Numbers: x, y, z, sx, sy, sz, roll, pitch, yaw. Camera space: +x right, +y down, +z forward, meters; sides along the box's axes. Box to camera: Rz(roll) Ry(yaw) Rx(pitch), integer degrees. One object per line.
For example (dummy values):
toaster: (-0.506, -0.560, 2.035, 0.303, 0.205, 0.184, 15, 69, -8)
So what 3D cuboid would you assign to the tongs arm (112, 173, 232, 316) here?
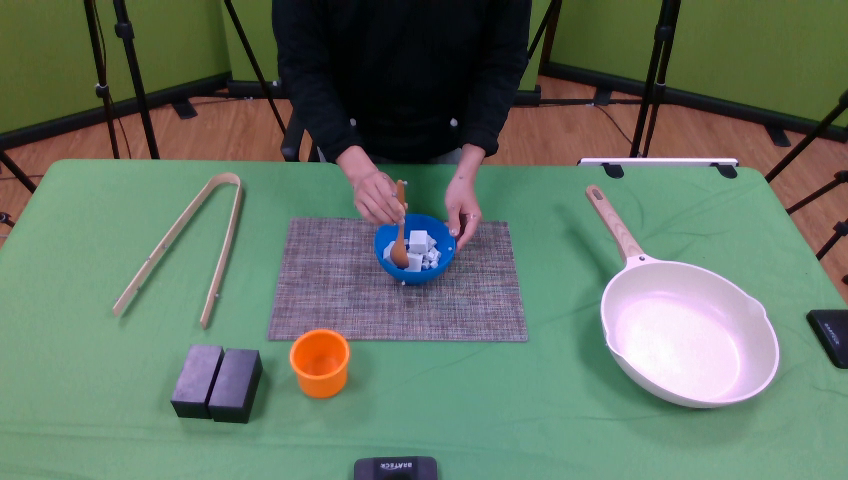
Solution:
tongs arm: (-0.467, -0.005, 1.157, 0.051, 0.026, 0.382, 11, 45, 4)

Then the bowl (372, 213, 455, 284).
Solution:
bowl: (-0.021, 0.028, 1.124, 0.151, 0.077, 0.150, 2, 46, -2)

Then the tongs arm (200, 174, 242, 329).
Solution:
tongs arm: (-0.387, 0.008, 1.158, 0.028, 0.028, 0.385, -1, 46, -3)

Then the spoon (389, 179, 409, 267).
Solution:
spoon: (-0.043, -0.025, 1.031, 0.041, 0.194, 0.021, 23, 42, 25)

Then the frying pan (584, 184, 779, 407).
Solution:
frying pan: (0.412, 0.079, 1.097, 0.307, 0.103, 0.484, -10, 56, -15)
